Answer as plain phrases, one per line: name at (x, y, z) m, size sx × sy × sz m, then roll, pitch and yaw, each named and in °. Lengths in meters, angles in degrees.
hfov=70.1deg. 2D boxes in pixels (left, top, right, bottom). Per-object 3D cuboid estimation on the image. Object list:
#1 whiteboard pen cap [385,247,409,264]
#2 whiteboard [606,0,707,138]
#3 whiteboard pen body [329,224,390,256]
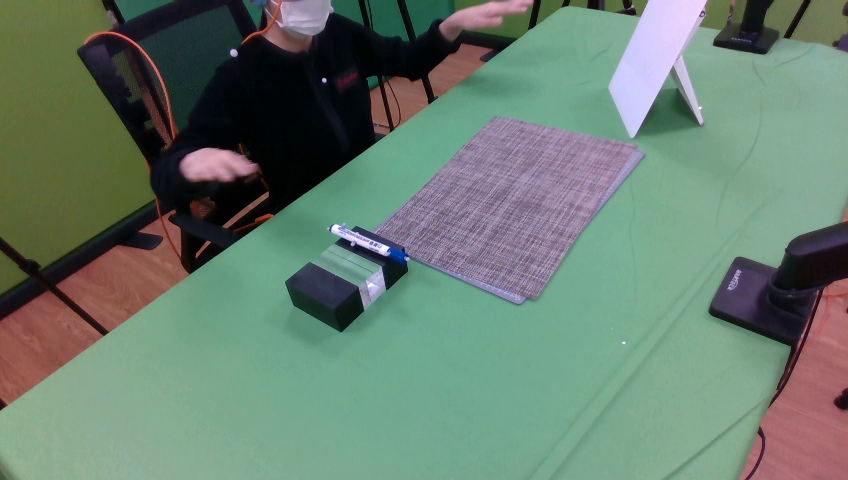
whiteboard pen cap at (-0.039, 0.022, 0.878) m, size 0.033 × 0.018 × 0.018 m, roll 24°, pitch 49°, yaw 29°
whiteboard at (0.496, -0.359, 1.147) m, size 0.144 × 0.305 × 0.216 m, roll 11°, pitch 40°, yaw -7°
whiteboard pen body at (-0.088, 0.003, 0.909) m, size 0.139 × 0.017 × 0.017 m, roll 21°, pitch 48°, yaw 30°
